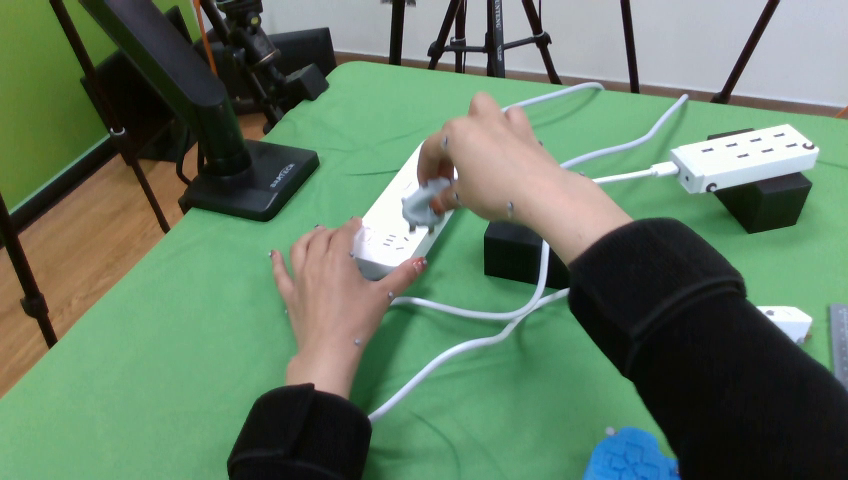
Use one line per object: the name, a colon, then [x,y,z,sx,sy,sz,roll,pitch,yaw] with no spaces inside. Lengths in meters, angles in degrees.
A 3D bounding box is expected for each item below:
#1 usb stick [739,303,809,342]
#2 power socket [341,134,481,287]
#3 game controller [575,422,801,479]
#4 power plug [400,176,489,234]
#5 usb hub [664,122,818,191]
usb stick: [0.284,0.066,0.483,0.059,0.027,0.021,7,19,-19]
power socket: [-0.008,-0.040,0.628,0.072,0.033,0.225,15,47,20]
game controller: [0.168,0.172,0.374,0.154,0.052,0.096,14,42,19]
power plug: [0.017,-0.026,0.500,0.073,0.053,0.035,2,47,-10]
usb hub: [0.298,-0.079,0.572,0.125,0.025,0.049,-13,44,-6]
